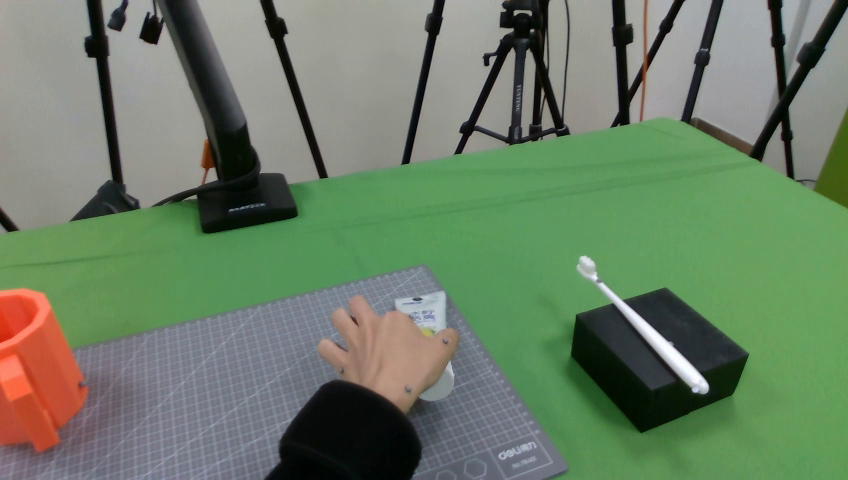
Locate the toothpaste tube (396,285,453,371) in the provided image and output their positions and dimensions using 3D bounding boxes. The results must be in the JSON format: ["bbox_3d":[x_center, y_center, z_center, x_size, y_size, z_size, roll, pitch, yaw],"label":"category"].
[{"bbox_3d":[0.004,0.081,0.563,0.055,0.035,0.164,-4,22,-4],"label":"toothpaste tube"}]

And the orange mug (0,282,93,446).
[{"bbox_3d":[-0.325,0.105,0.488,0.083,0.101,0.125,-25,37,-32],"label":"orange mug"}]

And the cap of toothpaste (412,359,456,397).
[{"bbox_3d":[0.008,0.109,0.489,0.037,0.037,0.011,-6,24,-7],"label":"cap of toothpaste"}]

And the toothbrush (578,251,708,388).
[{"bbox_3d":[0.185,0.062,0.530,0.014,0.017,0.180,-7,34,-17],"label":"toothbrush"}]
